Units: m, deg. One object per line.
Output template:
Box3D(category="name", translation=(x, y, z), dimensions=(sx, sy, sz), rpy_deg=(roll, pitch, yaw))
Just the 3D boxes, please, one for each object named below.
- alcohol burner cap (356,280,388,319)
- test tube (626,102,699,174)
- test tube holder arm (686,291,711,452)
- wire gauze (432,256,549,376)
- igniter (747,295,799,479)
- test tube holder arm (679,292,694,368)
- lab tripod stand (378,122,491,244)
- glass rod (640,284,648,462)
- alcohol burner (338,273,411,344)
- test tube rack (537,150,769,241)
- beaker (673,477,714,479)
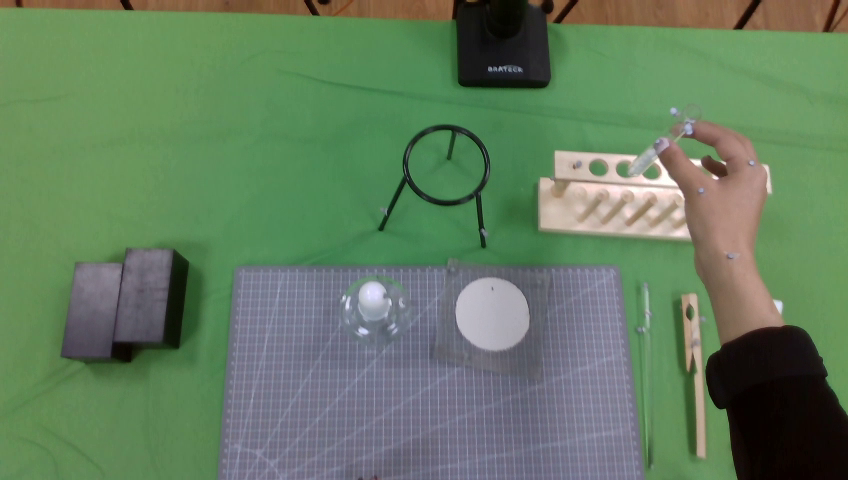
Box3D(category="alcohol burner cap", translation=(-0.052, 0.056, 0.601), dimensions=(0.034, 0.048, 0.033), rpy_deg=(1, 66, -3))
Box3D(category="test tube", translation=(0.216, -0.090, 0.560), dimensions=(0.017, 0.151, 0.017), rpy_deg=(0, 78, 1))
Box3D(category="test tube holder arm", translation=(0.308, 0.146, 0.683), dimensions=(0.013, 0.015, 0.177), rpy_deg=(-12, 69, 33))
Box3D(category="wire gauze", translation=(0.078, 0.084, 0.693), dimensions=(0.125, 0.011, 0.121), rpy_deg=(11, 74, -1))
Box3D(category="igniter", translation=(0.382, 0.197, 0.669), dimensions=(0.057, 0.025, 0.275), rpy_deg=(10, 72, -11))
Box3D(category="test tube holder arm", translation=(0.304, 0.104, 0.699), dimensions=(0.010, 0.015, 0.087), rpy_deg=(-10, 69, 33))
Box3D(category="lab tripod stand", translation=(0.016, -0.057, 0.670), dimensions=(0.148, 0.132, 0.147), rpy_deg=(1, 74, -2))
Box3D(category="glass rod", translation=(0.250, 0.147, 0.686), dimensions=(0.008, 0.008, 0.198), rpy_deg=(6, 75, -2))
Box3D(category="alcohol burner", translation=(-0.053, 0.068, 0.635), dimensions=(0.078, 0.120, 0.077), rpy_deg=(0, 73, -1))
Box3D(category="test tube rack", translation=(0.261, -0.050, 0.707), dimensions=(0.242, 0.085, 0.066), rpy_deg=(4, 72, -2))
Box3D(category="beaker", translation=(0.280, 0.273, 0.602), dimensions=(0.084, 0.101, 0.074), rpy_deg=(30, 73, 8))
